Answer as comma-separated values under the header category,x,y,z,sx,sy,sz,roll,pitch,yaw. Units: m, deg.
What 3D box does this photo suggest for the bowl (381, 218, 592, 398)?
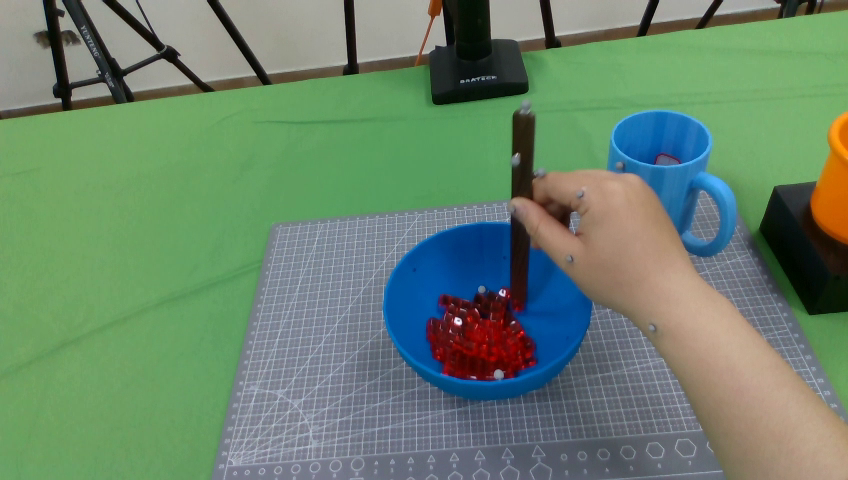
category,x,y,z,sx,sy,sz,roll,pitch,yaw
bowl,0.047,0.062,0.459,0.151,0.077,0.150,-4,46,5

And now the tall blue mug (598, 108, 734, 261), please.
category,x,y,z,sx,sy,sz,roll,pitch,yaw
tall blue mug,0.206,-0.041,0.511,0.106,0.109,0.077,15,50,22

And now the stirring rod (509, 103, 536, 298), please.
category,x,y,z,sx,sy,sz,roll,pitch,yaw
stirring rod,0.065,-0.017,0.406,0.014,0.178,0.006,14,51,19
